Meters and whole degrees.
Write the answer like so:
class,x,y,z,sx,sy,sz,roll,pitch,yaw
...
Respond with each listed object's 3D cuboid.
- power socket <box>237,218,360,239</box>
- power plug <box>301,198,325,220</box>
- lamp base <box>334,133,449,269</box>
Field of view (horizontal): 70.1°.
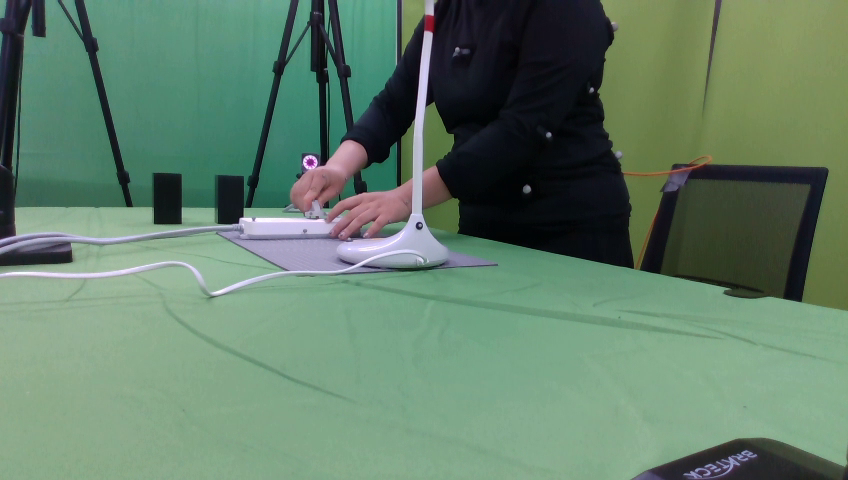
class,x,y,z,sx,sy,sz,roll,pitch,yaw
power socket,-0.220,-0.023,1.080,0.228,0.032,0.072,-2,8,-32
power plug,-0.206,-0.051,1.121,0.035,0.052,0.072,-3,6,-17
lamp base,-0.034,-0.057,0.830,0.161,0.180,0.178,-3,12,-36
